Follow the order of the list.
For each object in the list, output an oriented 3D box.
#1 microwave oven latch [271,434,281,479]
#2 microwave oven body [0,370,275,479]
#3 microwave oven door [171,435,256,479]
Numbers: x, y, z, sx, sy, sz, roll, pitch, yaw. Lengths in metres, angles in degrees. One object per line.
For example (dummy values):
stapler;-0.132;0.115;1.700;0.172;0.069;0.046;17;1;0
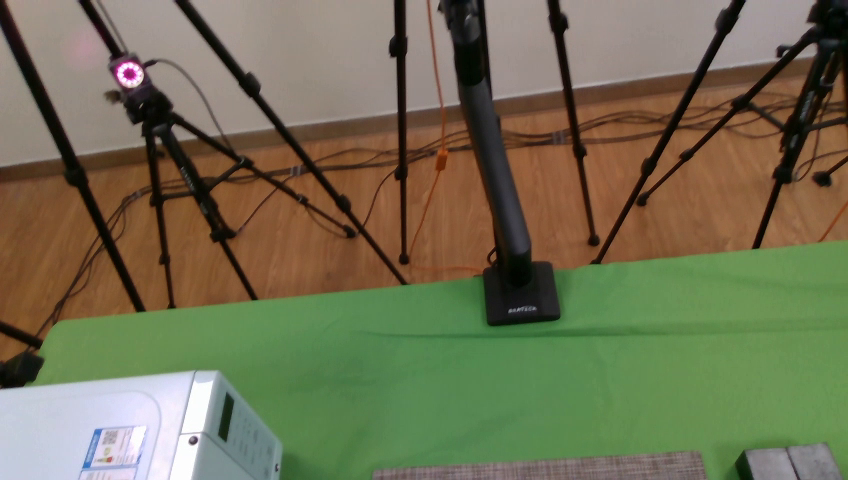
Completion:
microwave oven latch;-0.222;0.319;0.861;0.030;0.030;0.078;-6;51;5
microwave oven body;-0.379;0.411;0.689;0.326;0.263;0.437;-6;51;5
microwave oven door;-0.234;0.423;0.645;0.039;0.246;0.352;-7;50;6
